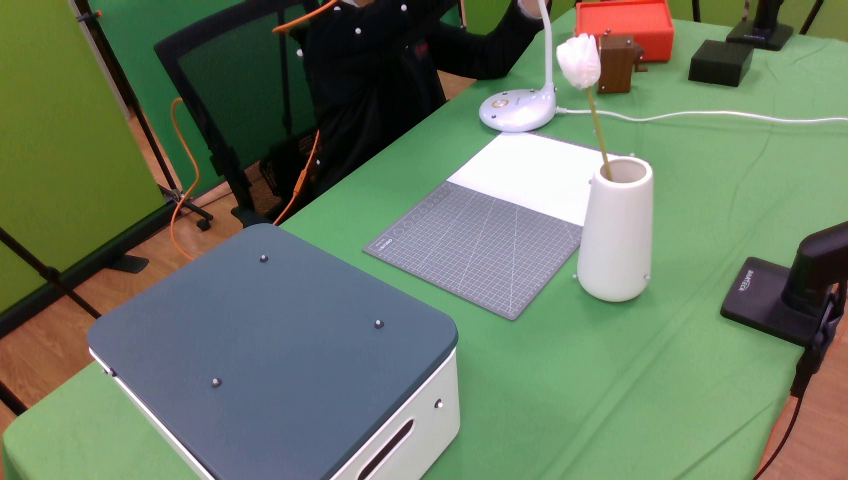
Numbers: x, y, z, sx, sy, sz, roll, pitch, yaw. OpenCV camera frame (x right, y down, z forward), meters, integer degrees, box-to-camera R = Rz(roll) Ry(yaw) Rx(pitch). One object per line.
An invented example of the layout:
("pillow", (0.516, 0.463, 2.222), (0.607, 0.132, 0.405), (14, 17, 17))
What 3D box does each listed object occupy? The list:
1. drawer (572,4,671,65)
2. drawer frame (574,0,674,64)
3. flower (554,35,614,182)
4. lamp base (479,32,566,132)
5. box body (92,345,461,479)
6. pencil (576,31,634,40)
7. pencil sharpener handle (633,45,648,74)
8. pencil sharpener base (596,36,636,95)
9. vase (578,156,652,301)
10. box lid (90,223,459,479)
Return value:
("drawer", (0.461, -0.490, 1.435), (0.211, 0.073, 0.194), (2, 41, 12))
("drawer frame", (0.464, -0.492, 1.434), (0.213, 0.083, 0.201), (1, 40, 12))
("flower", (0.237, -0.083, 0.774), (0.044, 0.363, 0.038), (-22, 26, 6))
("lamp base", (0.200, -0.332, 1.219), (0.179, 0.181, 0.160), (1, 40, 7))
("box body", (-0.162, 0.170, 0.708), (0.361, 0.161, 0.255), (25, 50, 34))
("pencil", (0.430, -0.488, 1.443), (0.012, 0.012, 0.192), (-25, 30, -18))
("pencil sharpener handle", (0.454, -0.378, 1.262), (0.030, 0.068, 0.036), (1, 47, 13))
("pencil sharpener base", (0.406, -0.369, 1.280), (0.076, 0.107, 0.061), (1, 41, 13))
("vase", (0.261, -0.011, 0.812), (0.098, 0.201, 0.097), (-4, 40, 4))
("box lid", (-0.174, 0.102, 0.666), (0.368, 0.015, 0.264), (24, 48, 35))
